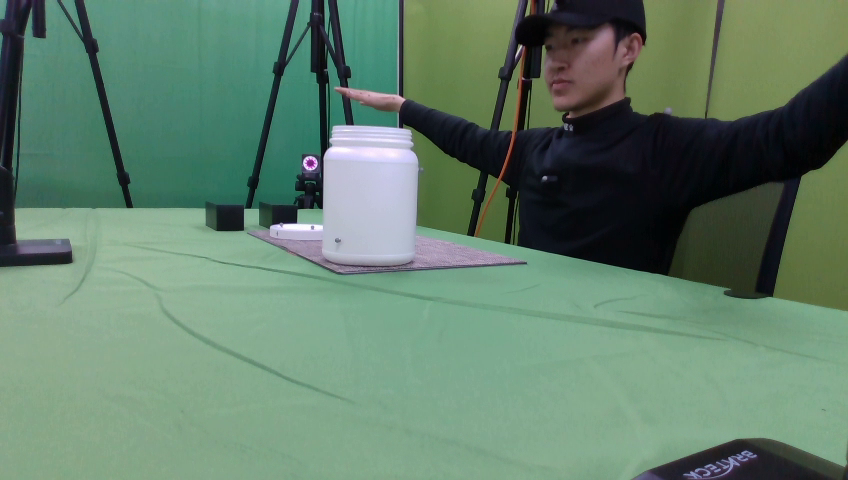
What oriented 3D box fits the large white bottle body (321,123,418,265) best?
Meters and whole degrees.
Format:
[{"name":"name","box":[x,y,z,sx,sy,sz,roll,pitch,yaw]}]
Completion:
[{"name":"large white bottle body","box":[-0.075,-0.064,0.836,0.131,0.184,0.130,2,8,0]}]

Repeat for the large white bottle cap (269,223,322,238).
[{"name":"large white bottle cap","box":[-0.218,-0.017,1.084,0.115,0.018,0.115,2,7,0]}]
